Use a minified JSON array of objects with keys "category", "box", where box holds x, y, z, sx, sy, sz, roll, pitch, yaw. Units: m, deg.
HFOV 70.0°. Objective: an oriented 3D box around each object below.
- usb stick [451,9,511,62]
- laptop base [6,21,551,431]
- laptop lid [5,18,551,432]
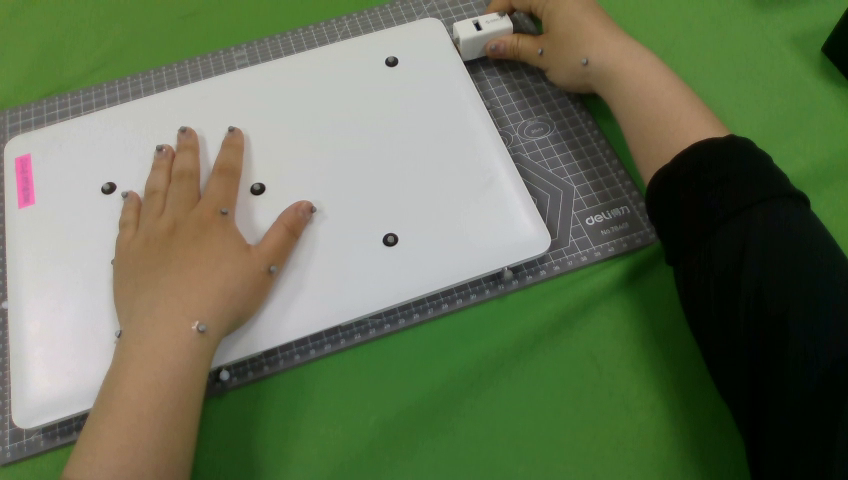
[{"category":"usb stick","box":[0.039,-0.162,0.487,0.059,0.027,0.021,-20,57,-1]},{"category":"laptop base","box":[-0.116,-0.031,0.439,0.355,0.023,0.233,-19,65,-7]},{"category":"laptop lid","box":[-0.115,-0.034,0.429,0.357,0.013,0.239,-17,64,-6]}]
